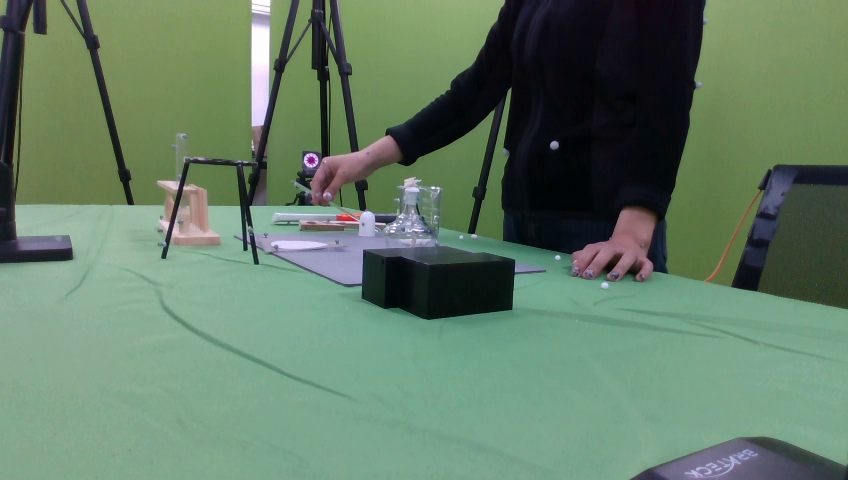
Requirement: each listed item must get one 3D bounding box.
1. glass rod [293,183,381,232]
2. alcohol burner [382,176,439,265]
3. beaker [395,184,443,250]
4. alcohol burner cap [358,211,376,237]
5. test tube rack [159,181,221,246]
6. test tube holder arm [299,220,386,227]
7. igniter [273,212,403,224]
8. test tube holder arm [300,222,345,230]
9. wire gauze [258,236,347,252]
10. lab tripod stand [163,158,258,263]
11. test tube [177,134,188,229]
[{"bbox_3d":[-0.161,-0.059,1.140,0.201,0.008,0.008,29,-8,-30],"label":"glass rod"},{"bbox_3d":[-0.018,-0.027,0.818,0.078,0.119,0.078,3,10,0],"label":"alcohol burner"},{"bbox_3d":[-0.007,-0.037,0.965,0.074,0.100,0.083,-4,11,-40],"label":"beaker"},{"bbox_3d":[-0.104,-0.030,1.098,0.034,0.048,0.034,3,8,0],"label":"alcohol burner cap"},{"bbox_3d":[-0.395,-0.050,1.010,0.067,0.085,0.241,-2,8,-28],"label":"test tube rack"},{"bbox_3d":[-0.159,-0.032,1.196,0.179,0.015,0.013,-2,46,-29],"label":"test tube holder arm"},{"bbox_3d":[-0.179,-0.048,1.290,0.278,0.025,0.057,-1,-2,-24],"label":"igniter"},{"bbox_3d":[-0.196,-0.027,1.171,0.088,0.015,0.010,-1,46,-29],"label":"test tube holder arm"},{"bbox_3d":[-0.189,0.005,0.931,0.122,0.011,0.124,1,7,-21],"label":"wire gauze"},{"bbox_3d":[-0.264,-0.041,0.802,0.148,0.131,0.148,4,7,0],"label":"lab tripod stand"},{"bbox_3d":[-0.374,-0.089,0.938,0.017,0.150,0.017,2,4,0],"label":"test tube"}]
